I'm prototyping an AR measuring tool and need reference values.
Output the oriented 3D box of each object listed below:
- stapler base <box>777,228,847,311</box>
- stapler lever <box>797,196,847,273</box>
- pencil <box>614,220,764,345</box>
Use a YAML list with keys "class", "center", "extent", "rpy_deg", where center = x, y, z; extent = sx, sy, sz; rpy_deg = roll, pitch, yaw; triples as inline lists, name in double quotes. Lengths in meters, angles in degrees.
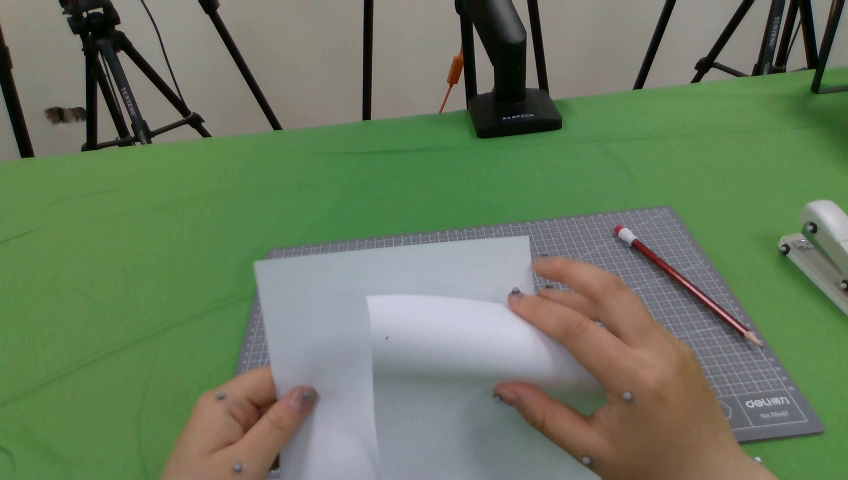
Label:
- class: "stapler base"
  center: [0.378, 0.024, 0.554]
  extent: [0.041, 0.025, 0.129]
  rpy_deg: [-11, 39, -3]
- class: "stapler lever"
  center: [0.376, 0.005, 0.536]
  extent: [0.027, 0.040, 0.117]
  rpy_deg: [-11, 39, -2]
- class: "pencil"
  center: [0.240, 0.034, 0.565]
  extent: [0.012, 0.012, 0.192]
  rpy_deg: [-18, 39, -15]
